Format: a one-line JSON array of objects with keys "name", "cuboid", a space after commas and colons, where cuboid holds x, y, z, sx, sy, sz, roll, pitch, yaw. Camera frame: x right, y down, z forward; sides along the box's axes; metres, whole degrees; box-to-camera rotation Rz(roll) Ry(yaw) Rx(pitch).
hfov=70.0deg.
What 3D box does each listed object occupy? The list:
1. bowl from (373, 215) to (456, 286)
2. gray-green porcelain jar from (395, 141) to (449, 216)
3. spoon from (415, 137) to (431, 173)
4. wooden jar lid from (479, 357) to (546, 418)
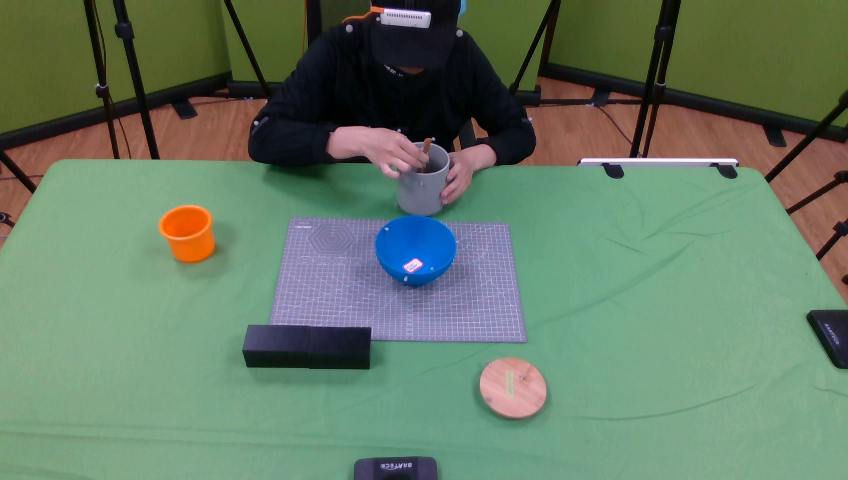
[{"name": "bowl", "cuboid": [-0.019, 0.032, 1.122, 0.151, 0.077, 0.150, 2, 46, -2]}, {"name": "gray-green porcelain jar", "cuboid": [-0.007, -0.120, 1.241, 0.106, 0.127, 0.105, 2, 46, -2]}, {"name": "spoon", "cuboid": [-0.007, -0.148, 1.188, 0.042, 0.194, 0.021, 5, 62, -6]}, {"name": "wooden jar lid", "cuboid": [0.142, 0.240, 0.979, 0.108, 0.021, 0.107, 1, 46, -1]}]
